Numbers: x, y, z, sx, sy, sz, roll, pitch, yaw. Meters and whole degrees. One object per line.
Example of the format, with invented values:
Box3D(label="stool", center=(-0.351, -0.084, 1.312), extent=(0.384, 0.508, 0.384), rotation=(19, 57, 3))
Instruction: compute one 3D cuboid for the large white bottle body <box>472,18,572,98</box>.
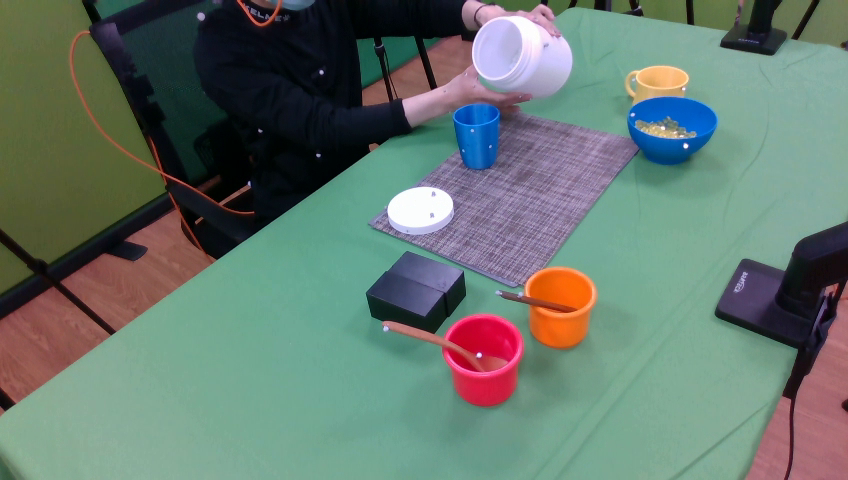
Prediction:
Box3D(label="large white bottle body", center=(0.184, -0.343, 1.142), extent=(0.129, 0.130, 0.186), rotation=(26, 19, 33))

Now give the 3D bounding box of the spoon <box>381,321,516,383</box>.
Box3D(label="spoon", center=(0.033, 0.131, 0.725), extent=(0.195, 0.021, 0.041), rotation=(29, 30, -26))

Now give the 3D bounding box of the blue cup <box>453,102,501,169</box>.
Box3D(label="blue cup", center=(0.099, -0.188, 1.114), extent=(0.092, 0.100, 0.092), rotation=(-4, 39, 4))

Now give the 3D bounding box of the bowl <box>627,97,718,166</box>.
Box3D(label="bowl", center=(0.439, -0.187, 1.087), extent=(0.151, 0.077, 0.150), rotation=(-4, 41, 4))

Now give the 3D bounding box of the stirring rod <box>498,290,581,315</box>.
Box3D(label="stirring rod", center=(0.151, 0.081, 0.772), extent=(0.178, 0.006, 0.014), rotation=(16, 20, -44))

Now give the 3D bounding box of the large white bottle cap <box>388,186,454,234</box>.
Box3D(label="large white bottle cap", center=(-0.006, -0.053, 1.036), extent=(0.115, 0.018, 0.114), rotation=(-4, 40, 4))

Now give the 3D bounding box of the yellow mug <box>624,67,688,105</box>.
Box3D(label="yellow mug", center=(0.465, -0.306, 1.230), extent=(0.100, 0.064, 0.129), rotation=(-34, 46, -27))
